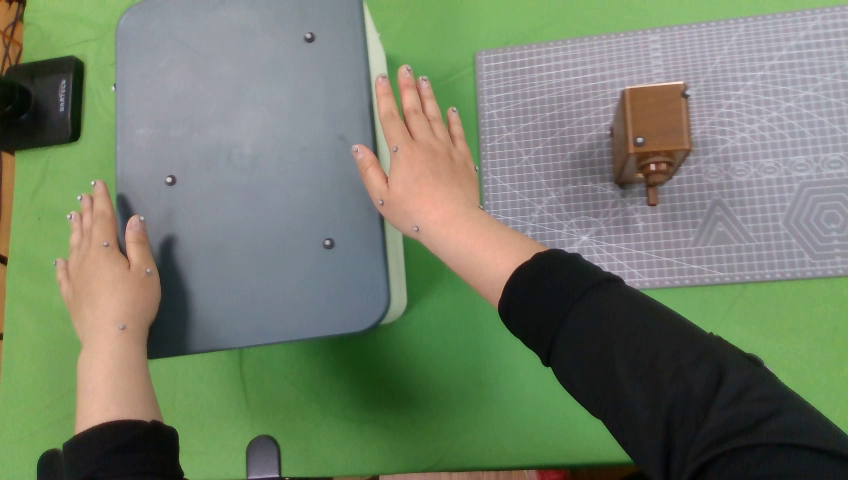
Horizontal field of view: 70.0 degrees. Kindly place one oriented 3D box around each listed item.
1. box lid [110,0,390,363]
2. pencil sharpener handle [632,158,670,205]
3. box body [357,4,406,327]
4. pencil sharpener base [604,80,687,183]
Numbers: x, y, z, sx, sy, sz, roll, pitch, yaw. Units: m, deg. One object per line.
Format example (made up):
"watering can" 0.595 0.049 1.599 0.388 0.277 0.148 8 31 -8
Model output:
"box lid" -0.177 -0.080 0.586 0.263 0.015 0.370 -9 79 7
"pencil sharpener handle" 0.226 -0.057 0.602 0.036 0.068 0.030 -5 78 15
"box body" -0.166 -0.071 0.663 0.254 0.161 0.362 -9 78 8
"pencil sharpener base" 0.225 -0.105 0.624 0.061 0.107 0.076 -4 79 10
